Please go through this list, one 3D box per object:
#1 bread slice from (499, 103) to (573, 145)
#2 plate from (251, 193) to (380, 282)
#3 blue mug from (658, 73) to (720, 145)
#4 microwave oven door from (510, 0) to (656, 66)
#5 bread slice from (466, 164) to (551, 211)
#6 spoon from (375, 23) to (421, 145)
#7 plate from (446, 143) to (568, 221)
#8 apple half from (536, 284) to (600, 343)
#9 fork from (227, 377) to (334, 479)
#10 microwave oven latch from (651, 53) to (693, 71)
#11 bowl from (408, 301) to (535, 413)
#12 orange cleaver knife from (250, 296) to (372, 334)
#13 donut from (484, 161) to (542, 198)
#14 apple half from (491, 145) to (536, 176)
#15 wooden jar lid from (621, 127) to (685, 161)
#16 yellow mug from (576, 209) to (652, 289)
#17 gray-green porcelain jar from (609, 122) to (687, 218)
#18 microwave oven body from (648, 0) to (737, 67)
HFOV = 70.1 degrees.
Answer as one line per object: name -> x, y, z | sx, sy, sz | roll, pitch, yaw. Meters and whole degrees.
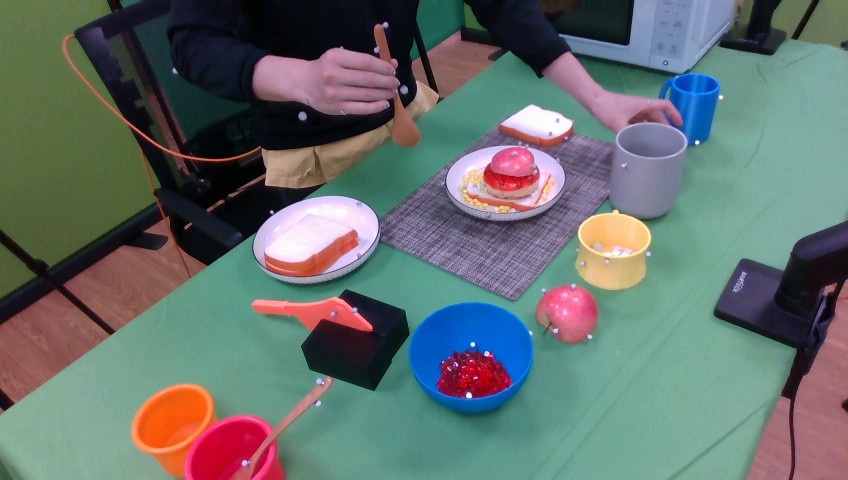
bread slice -> 0.231, -0.231, 1.205 | 0.105, 0.019, 0.130 | -36, 47, -28
plate -> -0.174, -0.001, 0.984 | 0.209, 0.038, 0.208 | -4, 40, 4
blue mug -> 0.483, -0.250, 1.127 | 0.082, 0.106, 0.115 | -26, 44, -19
microwave oven door -> 0.350, -0.539, 1.349 | 0.353, 0.245, 0.039 | 24, 50, 31
bread slice -> 0.141, -0.092, 1.042 | 0.133, 0.018, 0.107 | 11, 43, 19
spoon -> -0.039, -0.197, 0.794 | 0.041, 0.195, 0.021 | -9, 46, 6
plate -> 0.142, -0.097, 1.045 | 0.207, 0.039, 0.206 | -4, 40, 4
apple half -> 0.196, 0.091, 0.815 | 0.075, 0.053, 0.080 | -22, 42, -20
fork -> -0.162, 0.216, 0.647 | 0.207, 0.019, 0.028 | -49, 41, 16
microwave oven latch -> 0.532, -0.386, 1.301 | 0.078, 0.029, 0.030 | 27, 52, 34
bowl -> 0.060, 0.156, 0.739 | 0.151, 0.077, 0.150 | -4, 40, 4
orange cleaver knife -> -0.158, 0.103, 0.828 | 0.210, 0.078, 0.012 | -4, 43, 39
donut -> 0.149, -0.109, 1.015 | 0.099, 0.048, 0.098 | -4, 41, 4
apple half -> 0.147, -0.138, 0.994 | 0.081, 0.033, 0.081 | 0, 37, 1
wooden jar lid -> 0.403, -0.168, 1.067 | 0.108, 0.021, 0.108 | 3, 34, -1
yellow mug -> 0.279, 0.004, 0.893 | 0.099, 0.064, 0.130 | 5, 41, 15
gray-green porcelain jar -> 0.353, -0.106, 0.964 | 0.106, 0.127, 0.105 | -4, 41, 4
microwave oven body -> 0.475, -0.602, 1.411 | 0.438, 0.261, 0.327 | 23, 50, 32
